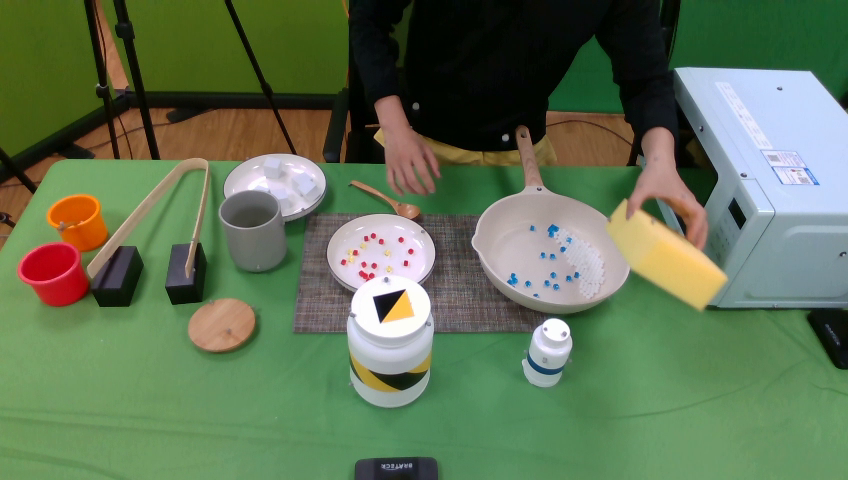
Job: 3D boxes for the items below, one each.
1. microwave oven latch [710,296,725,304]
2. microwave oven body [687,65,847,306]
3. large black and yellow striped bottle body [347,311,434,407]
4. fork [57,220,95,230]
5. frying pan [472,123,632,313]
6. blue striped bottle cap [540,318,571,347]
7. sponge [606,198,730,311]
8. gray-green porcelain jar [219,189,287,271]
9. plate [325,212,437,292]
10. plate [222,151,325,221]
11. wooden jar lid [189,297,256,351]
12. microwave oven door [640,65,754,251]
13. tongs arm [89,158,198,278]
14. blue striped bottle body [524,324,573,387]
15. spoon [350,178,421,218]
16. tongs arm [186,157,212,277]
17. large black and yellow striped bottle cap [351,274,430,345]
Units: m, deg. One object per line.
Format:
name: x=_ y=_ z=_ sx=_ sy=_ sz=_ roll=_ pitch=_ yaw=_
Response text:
microwave oven latch: x=0.522 y=0.081 z=1.116 sx=0.030 sy=0.029 sz=0.078 roll=2 pitch=46 yaw=-1
microwave oven body: x=0.669 y=-0.111 z=1.176 sx=0.326 sy=0.261 sz=0.439 roll=0 pitch=46 yaw=-3
large black and yellow striped bottle body: x=-0.052 y=0.157 z=0.929 sx=0.131 sy=0.185 sz=0.130 roll=2 pitch=47 yaw=-2
fork: x=-0.624 y=-0.027 z=1.087 sx=0.028 sy=0.207 sz=0.018 roll=-3 pitch=92 yaw=-17
frying pan: x=0.235 y=-0.060 z=1.207 sx=0.307 sy=0.103 sz=0.484 roll=2 pitch=54 yaw=-6
blue striped bottle cap: x=0.203 y=0.142 z=0.933 sx=0.044 sy=0.021 sz=0.044 roll=3 pitch=48 yaw=-3
sponge: x=0.359 y=0.015 z=0.918 sx=0.118 sy=0.061 sz=0.206 roll=31 pitch=18 yaw=-6
gray-green porcelain jar: x=-0.310 y=-0.014 z=1.113 sx=0.106 sy=0.127 sz=0.105 roll=2 pitch=46 yaw=-2
plate: x=-0.080 y=0.030 z=1.143 sx=0.209 sy=0.038 sz=0.208 roll=3 pitch=46 yaw=-2
plate: x=-0.310 y=-0.106 z=1.262 sx=0.208 sy=0.039 sz=0.206 roll=2 pitch=47 yaw=-2
wooden jar lid: x=-0.342 y=0.145 z=1.033 sx=0.108 sy=0.021 sz=0.107 roll=2 pitch=45 yaw=-2
microwave oven door: x=0.523 y=-0.147 z=1.193 sx=0.039 sy=0.245 sz=0.353 roll=0 pitch=47 yaw=-3
tongs arm: x=-0.529 y=-0.057 z=1.164 sx=0.028 sy=0.028 sz=0.385 roll=1 pitch=36 yaw=8
blue striped bottle body: x=0.200 y=0.178 z=0.970 sx=0.063 sy=0.121 sz=0.062 roll=2 pitch=46 yaw=-1
spoon: x=-0.084 y=-0.093 z=1.273 sx=0.193 sy=0.022 sz=0.041 roll=31 pitch=69 yaw=25
tongs arm: x=-0.445 y=-0.058 z=1.168 sx=0.051 sy=0.026 sz=0.382 roll=-5 pitch=37 yaw=-6
large black and yellow striped bottle cap: x=-0.048 y=0.097 z=0.867 sx=0.115 sy=0.019 sz=0.114 roll=3 pitch=48 yaw=-3
